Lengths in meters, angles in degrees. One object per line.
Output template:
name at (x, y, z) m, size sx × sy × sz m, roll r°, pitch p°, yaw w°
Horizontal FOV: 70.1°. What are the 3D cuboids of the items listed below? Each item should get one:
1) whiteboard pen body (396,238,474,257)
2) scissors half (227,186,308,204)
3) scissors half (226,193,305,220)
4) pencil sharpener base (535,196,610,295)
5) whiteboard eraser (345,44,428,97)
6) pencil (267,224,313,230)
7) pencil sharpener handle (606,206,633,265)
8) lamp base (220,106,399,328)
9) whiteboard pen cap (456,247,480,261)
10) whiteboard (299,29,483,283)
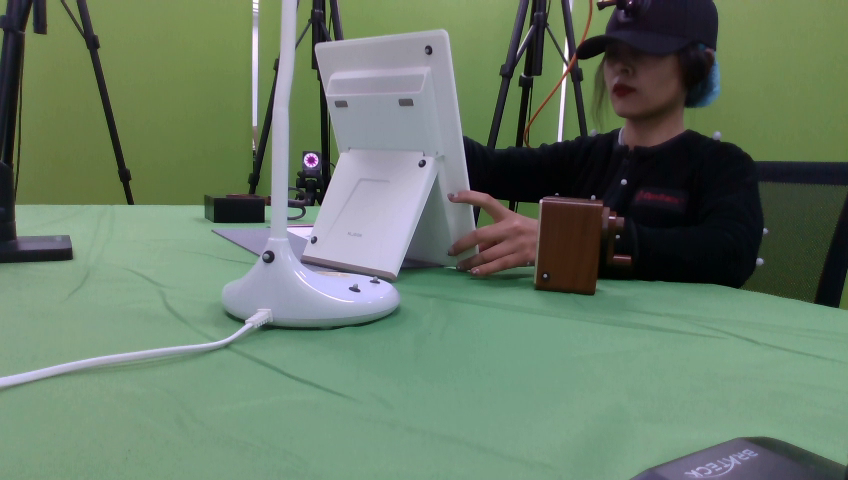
whiteboard pen body at (0.014, 0.012, 0.886) m, size 0.140 × 0.017 × 0.017 m, roll 9°, pitch 10°, yaw 38°
scissors half at (-0.336, -0.096, 1.305) m, size 0.176 × 0.040 × 0.013 m, roll -3°, pitch 17°, yaw -29°
scissors half at (-0.341, -0.077, 1.310) m, size 0.176 × 0.040 × 0.012 m, roll 17°, pitch 12°, yaw -33°
pencil sharpener base at (0.172, 0.005, 0.695) m, size 0.076 × 0.107 × 0.061 m, roll 5°, pitch 7°, yaw 16°
whiteboard eraser at (-0.051, -0.213, 0.769) m, size 0.112 × 0.055 × 0.042 m, roll 5°, pitch 29°, yaw 39°
pencil at (-0.221, -0.028, 1.211) m, size 0.195 × 0.012 × 0.012 m, roll -5°, pitch 10°, yaw -34°
pencil sharpener handle at (0.223, -0.004, 0.683) m, size 0.030 × 0.068 × 0.036 m, roll 5°, pitch 21°, yaw 16°
lamp base at (-0.101, -0.023, 0.531) m, size 0.160 × 0.180 × 0.179 m, roll 4°, pitch 10°, yaw 10°
whiteboard pen cap at (0.060, 0.020, 0.851) m, size 0.033 × 0.018 × 0.018 m, roll 8°, pitch 9°, yaw 37°
whiteboard at (-0.074, -0.082, 0.742) m, size 0.216 × 0.305 × 0.144 m, roll 9°, pitch 30°, yaw 38°
